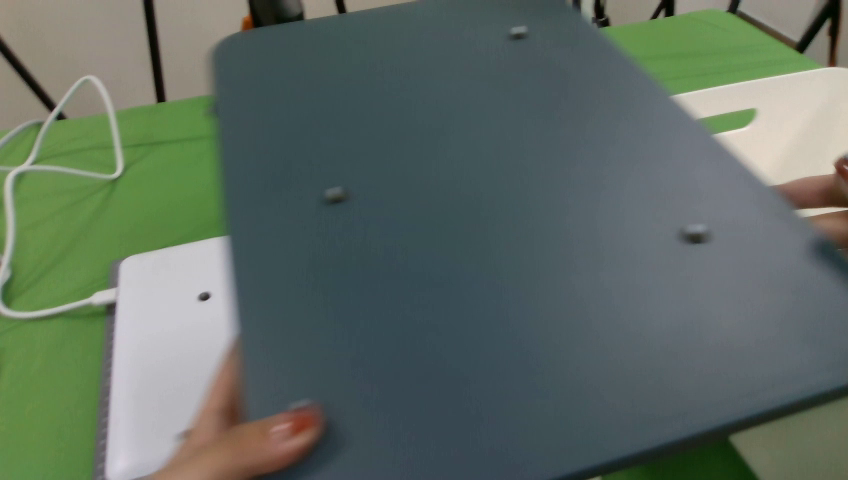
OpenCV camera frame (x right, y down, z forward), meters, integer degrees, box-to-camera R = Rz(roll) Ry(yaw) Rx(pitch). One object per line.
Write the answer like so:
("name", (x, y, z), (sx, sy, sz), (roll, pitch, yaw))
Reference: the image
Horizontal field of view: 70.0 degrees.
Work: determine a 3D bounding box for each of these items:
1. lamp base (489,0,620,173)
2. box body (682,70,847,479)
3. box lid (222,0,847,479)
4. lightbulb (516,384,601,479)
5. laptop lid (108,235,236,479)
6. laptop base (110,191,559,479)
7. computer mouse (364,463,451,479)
("lamp base", (0.162, -0.197, 0.707), (0.160, 0.182, 0.178), (10, 41, 13))
("box body", (0.322, 0.036, 0.462), (0.255, 0.162, 0.359), (-13, 44, -13))
("box lid", (0.024, -0.048, 0.335), (0.263, 0.015, 0.367), (-13, 46, -7))
("lightbulb", (0.101, 0.154, 0.423), (0.059, 0.060, 0.106), (-10, 59, -9))
("laptop lid", (-0.087, 0.058, 0.535), (0.357, 0.013, 0.239), (-12, 46, -11))
("laptop base", (-0.087, 0.065, 0.545), (0.355, 0.023, 0.233), (-13, 47, -13))
("computer mouse", (-0.017, 0.196, 0.388), (0.063, 0.041, 0.116), (2, 38, 7))
